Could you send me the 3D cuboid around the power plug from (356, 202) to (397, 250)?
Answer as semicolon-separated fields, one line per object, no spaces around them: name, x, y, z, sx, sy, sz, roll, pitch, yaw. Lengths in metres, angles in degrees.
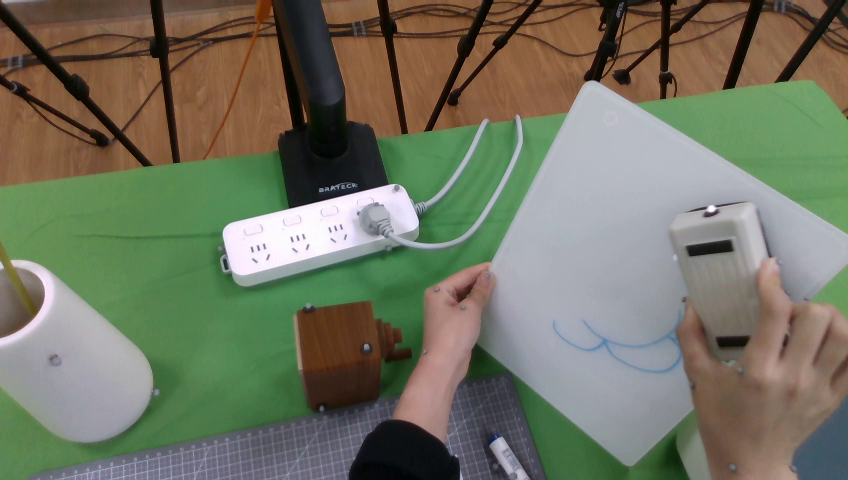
power plug;-0.053;-0.009;0.655;0.035;0.053;0.072;-6;60;-9

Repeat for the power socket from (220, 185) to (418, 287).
power socket;-0.113;-0.006;0.676;0.227;0.033;0.071;-15;61;-15

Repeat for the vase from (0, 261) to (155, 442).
vase;-0.295;0.096;0.494;0.098;0.201;0.097;2;57;-3

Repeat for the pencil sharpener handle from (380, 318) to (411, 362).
pencil sharpener handle;-0.025;0.095;0.562;0.031;0.068;0.035;-7;58;-10

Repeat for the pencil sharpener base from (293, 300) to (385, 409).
pencil sharpener base;-0.076;0.108;0.563;0.077;0.108;0.061;-7;58;-11

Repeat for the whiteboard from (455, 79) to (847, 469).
whiteboard;0.198;0.024;0.562;0.216;0.307;0.144;39;43;19

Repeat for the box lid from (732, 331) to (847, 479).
box lid;0.406;0.223;0.416;0.264;0.015;0.367;-10;59;-12

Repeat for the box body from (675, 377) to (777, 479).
box body;0.400;0.266;0.477;0.255;0.161;0.360;-10;59;-12

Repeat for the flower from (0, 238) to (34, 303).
flower;-0.287;0.035;0.435;0.038;0.365;0.043;-20;43;-25

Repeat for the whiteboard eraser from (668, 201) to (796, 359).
whiteboard eraser;0.217;0.029;0.427;0.042;0.055;0.113;-35;107;-46
